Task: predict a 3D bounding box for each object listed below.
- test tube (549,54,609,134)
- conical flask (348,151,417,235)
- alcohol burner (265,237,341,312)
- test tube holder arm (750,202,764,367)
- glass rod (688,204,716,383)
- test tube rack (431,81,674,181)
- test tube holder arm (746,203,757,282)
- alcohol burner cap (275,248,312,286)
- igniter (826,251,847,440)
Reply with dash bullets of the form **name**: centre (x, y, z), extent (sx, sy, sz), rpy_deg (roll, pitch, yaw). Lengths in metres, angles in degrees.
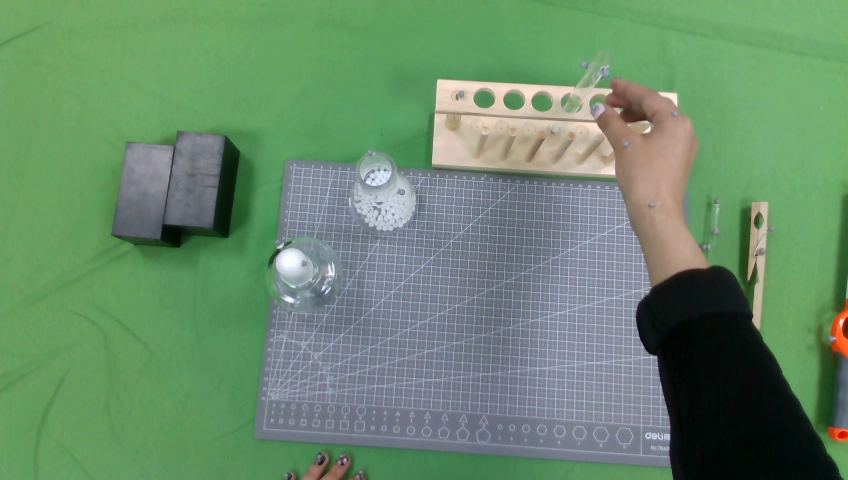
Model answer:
- **test tube**: centre (0.150, -0.141, 0.604), extent (0.017, 0.150, 0.017), rpy_deg (1, 77, -4)
- **conical flask**: centre (-0.045, -0.052, 0.612), extent (0.075, 0.122, 0.075), rpy_deg (0, 79, -1)
- **alcohol burner**: centre (-0.124, 0.031, 0.600), extent (0.078, 0.119, 0.077), rpy_deg (0, 78, 1)
- **test tube holder arm**: centre (0.361, 0.047, 0.656), extent (0.013, 0.015, 0.177), rpy_deg (-2, 78, 35)
- **glass rod**: centre (0.303, 0.056, 0.659), extent (0.008, 0.008, 0.199), rpy_deg (11, 82, 1)
- **test tube rack**: centre (0.130, -0.114, 0.649), extent (0.242, 0.085, 0.066), rpy_deg (4, 80, 0)
- **test tube holder arm**: centre (0.361, 0.003, 0.667), extent (0.010, 0.015, 0.087), rpy_deg (0, 78, 35)
- **alcohol burner cap**: centre (-0.123, 0.023, 0.565), extent (0.034, 0.048, 0.033), rpy_deg (1, 76, -5)
- **igniter**: centre (0.464, 0.076, 0.649), extent (0.057, 0.025, 0.275), rpy_deg (14, 80, -8)
